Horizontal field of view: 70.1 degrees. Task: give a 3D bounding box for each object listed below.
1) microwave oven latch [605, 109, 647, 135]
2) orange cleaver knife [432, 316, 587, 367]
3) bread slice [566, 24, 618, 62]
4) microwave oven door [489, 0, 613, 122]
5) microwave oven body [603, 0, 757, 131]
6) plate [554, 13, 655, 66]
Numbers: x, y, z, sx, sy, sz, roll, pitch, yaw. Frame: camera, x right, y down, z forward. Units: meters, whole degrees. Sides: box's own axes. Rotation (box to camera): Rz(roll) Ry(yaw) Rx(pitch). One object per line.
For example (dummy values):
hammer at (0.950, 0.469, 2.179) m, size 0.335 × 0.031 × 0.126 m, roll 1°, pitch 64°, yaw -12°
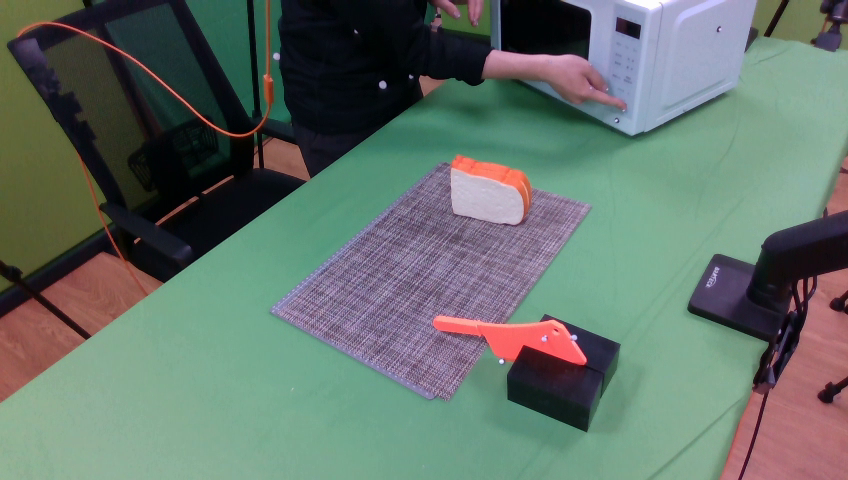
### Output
microwave oven latch at (0.379, -0.225, 1.139) m, size 0.030 × 0.029 × 0.078 m, roll -25°, pitch 43°, yaw -19°
orange cleaver knife at (0.101, 0.127, 0.761) m, size 0.210 × 0.077 × 0.012 m, roll -1°, pitch 34°, yaw 40°
bread slice at (0.363, -0.431, 1.319) m, size 0.107 × 0.018 × 0.134 m, roll 1°, pitch 49°, yaw 9°
microwave oven door at (0.251, -0.413, 1.219) m, size 0.039 × 0.245 × 0.352 m, roll -27°, pitch 44°, yaw -21°
microwave oven body at (0.396, -0.449, 1.248) m, size 0.327 × 0.261 × 0.437 m, roll -27°, pitch 44°, yaw -21°
plate at (0.387, -0.427, 1.305) m, size 0.207 × 0.039 × 0.206 m, roll -4°, pitch 44°, yaw 5°
